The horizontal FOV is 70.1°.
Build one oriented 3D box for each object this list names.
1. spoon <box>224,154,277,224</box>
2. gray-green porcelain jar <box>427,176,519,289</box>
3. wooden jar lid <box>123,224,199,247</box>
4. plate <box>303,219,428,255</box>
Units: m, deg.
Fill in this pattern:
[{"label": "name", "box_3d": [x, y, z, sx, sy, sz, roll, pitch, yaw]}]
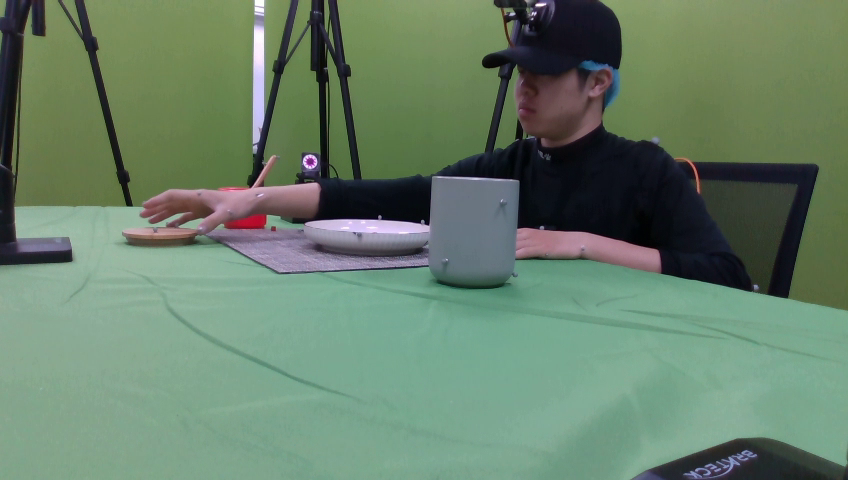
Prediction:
[{"label": "spoon", "box_3d": [-0.345, -0.106, 1.214, 0.041, 0.022, 0.194, 2, 45, 26]}, {"label": "gray-green porcelain jar", "box_3d": [0.057, -0.010, 0.722, 0.106, 0.126, 0.106, 2, 7, 0]}, {"label": "wooden jar lid", "box_3d": [-0.408, -0.007, 0.942, 0.108, 0.020, 0.108, 5, 9, 0]}, {"label": "plate", "box_3d": [-0.084, -0.005, 0.952, 0.208, 0.039, 0.207, 3, 7, 0]}]
